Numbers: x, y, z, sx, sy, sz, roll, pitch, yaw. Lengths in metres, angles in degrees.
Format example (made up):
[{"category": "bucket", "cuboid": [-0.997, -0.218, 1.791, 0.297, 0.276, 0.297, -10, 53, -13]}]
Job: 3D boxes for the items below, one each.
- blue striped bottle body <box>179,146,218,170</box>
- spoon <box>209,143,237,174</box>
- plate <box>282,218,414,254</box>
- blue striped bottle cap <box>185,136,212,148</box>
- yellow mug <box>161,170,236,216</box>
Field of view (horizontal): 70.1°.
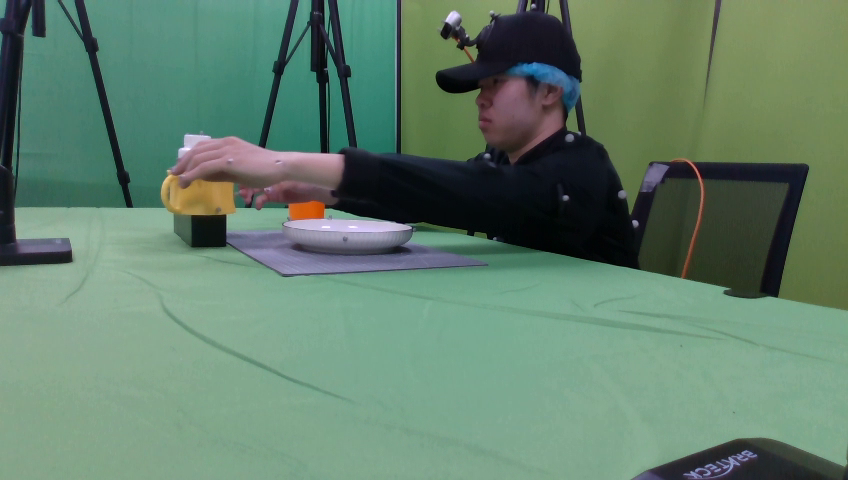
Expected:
[{"category": "blue striped bottle body", "cuboid": [-0.392, -0.119, 1.053, 0.063, 0.120, 0.063, 2, 8, 0]}, {"category": "spoon", "cuboid": [-0.341, -0.113, 0.990, 0.041, 0.021, 0.193, 0, 39, 7]}, {"category": "plate", "cuboid": [-0.121, -0.007, 0.970, 0.208, 0.039, 0.207, 2, 7, 0]}, {"category": "blue striped bottle cap", "cuboid": [-0.390, -0.169, 1.047, 0.044, 0.020, 0.044, 4, 10, 0]}, {"category": "yellow mug", "cuboid": [-0.354, -0.073, 0.935, 0.099, 0.064, 0.131, 6, 10, 21]}]
